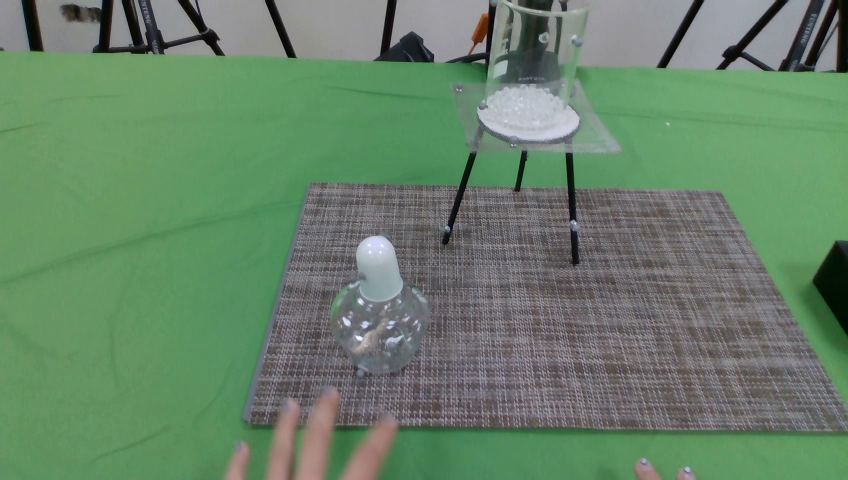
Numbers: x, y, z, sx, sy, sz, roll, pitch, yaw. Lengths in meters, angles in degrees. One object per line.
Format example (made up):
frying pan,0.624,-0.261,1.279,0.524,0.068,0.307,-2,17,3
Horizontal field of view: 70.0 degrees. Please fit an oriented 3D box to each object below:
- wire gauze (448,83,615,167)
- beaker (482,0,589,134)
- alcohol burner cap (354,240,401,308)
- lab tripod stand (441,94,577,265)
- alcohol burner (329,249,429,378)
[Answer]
wire gauze,0.088,-0.103,0.520,0.125,0.011,0.120,1,42,-7
beaker,0.088,-0.146,0.494,0.073,0.101,0.084,26,45,23
alcohol burner cap,-0.035,0.021,0.431,0.034,0.048,0.033,-3,39,3
lab tripod stand,0.091,-0.056,0.566,0.148,0.132,0.147,2,40,-2
alcohol burner,-0.034,0.048,0.455,0.078,0.120,0.077,2,42,-1
